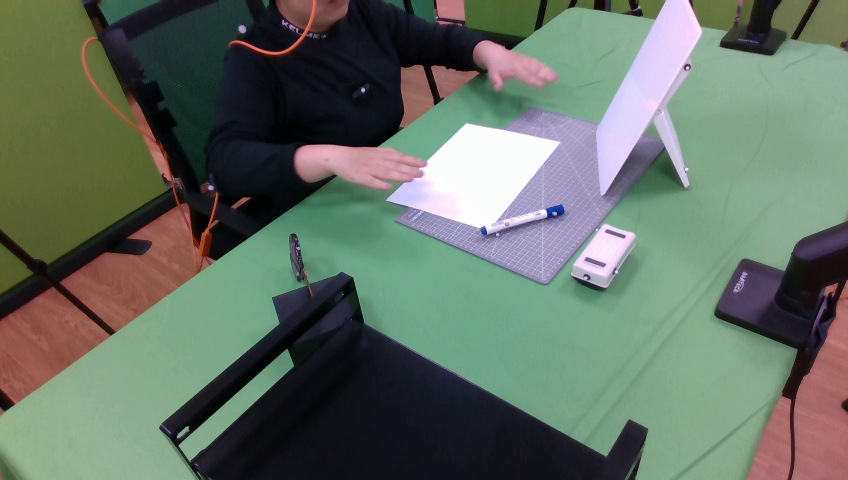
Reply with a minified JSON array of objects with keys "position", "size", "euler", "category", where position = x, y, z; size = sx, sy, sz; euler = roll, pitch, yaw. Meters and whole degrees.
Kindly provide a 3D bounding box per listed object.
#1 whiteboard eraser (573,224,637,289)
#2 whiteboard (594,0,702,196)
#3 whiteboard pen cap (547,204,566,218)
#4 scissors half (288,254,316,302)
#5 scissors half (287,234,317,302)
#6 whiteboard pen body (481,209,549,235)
[{"position":[0.267,0.025,0.890],"size":[0.055,0.042,0.113],"euler":[19,47,31],"category":"whiteboard eraser"},{"position":[0.420,-0.227,1.010],"size":[0.144,0.305,0.216],"euler":[18,42,-2],"category":"whiteboard"},{"position":[0.216,-0.046,0.997],"size":[0.033,0.018,0.018],"euler":[-18,41,-10],"category":"whiteboard pen cap"},{"position":[-0.178,0.058,0.894],"size":[0.013,0.040,0.174],"euler":[-16,20,-17],"category":"scissors half"},{"position":[-0.179,0.040,0.884],"size":[0.013,0.040,0.173],"euler":[-11,36,-20],"category":"scissors half"},{"position":[0.160,-0.032,0.985],"size":[0.141,0.017,0.017],"euler":[-16,41,-12],"category":"whiteboard pen body"}]
